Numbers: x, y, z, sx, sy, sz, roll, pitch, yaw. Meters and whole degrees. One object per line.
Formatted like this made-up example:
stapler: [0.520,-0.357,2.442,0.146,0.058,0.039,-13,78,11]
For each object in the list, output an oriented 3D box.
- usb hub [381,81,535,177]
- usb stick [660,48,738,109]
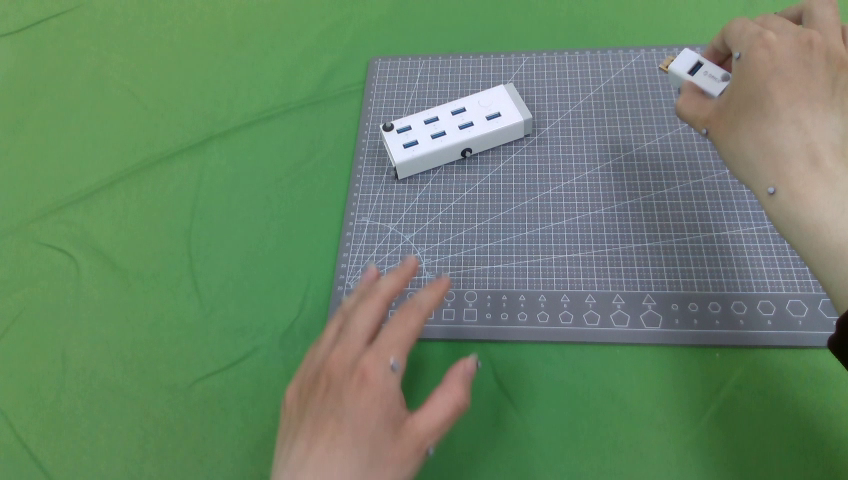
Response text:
usb hub: [0.029,-0.098,0.525,0.125,0.025,0.049,-18,58,-5]
usb stick: [0.203,-0.124,0.453,0.021,0.027,0.058,-51,57,8]
